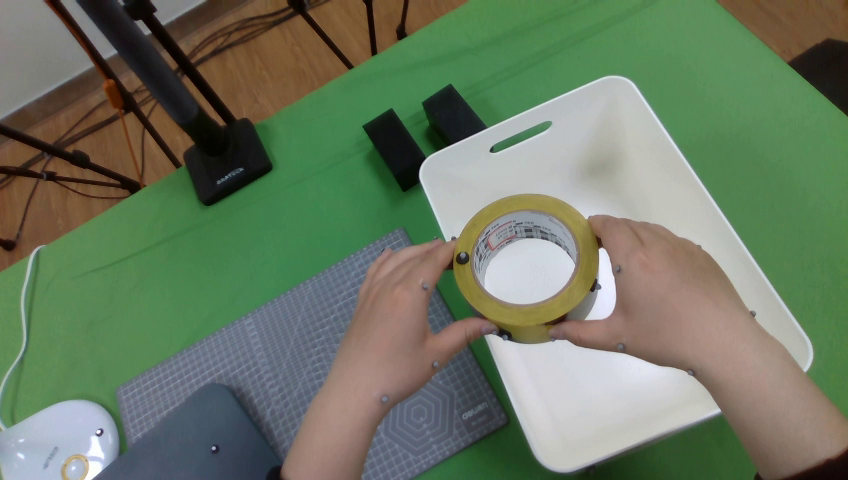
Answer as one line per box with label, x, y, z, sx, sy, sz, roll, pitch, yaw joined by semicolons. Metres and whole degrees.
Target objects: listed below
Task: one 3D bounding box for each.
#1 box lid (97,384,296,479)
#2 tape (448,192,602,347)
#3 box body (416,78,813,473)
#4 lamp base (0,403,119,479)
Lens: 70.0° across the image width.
box lid;-0.244;0.374;0.696;0.263;0.015;0.368;-42;66;-9
tape;0.080;0.022;0.479;0.116;0.053;0.116;-6;64;12
box body;0.177;0.041;0.661;0.254;0.162;0.360;-24;62;3
lamp base;-0.502;0.260;0.727;0.178;0.182;0.159;5;67;20
